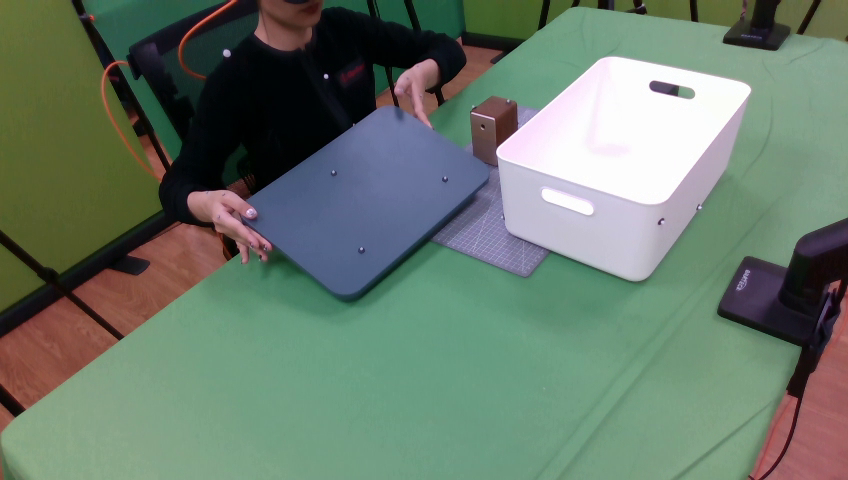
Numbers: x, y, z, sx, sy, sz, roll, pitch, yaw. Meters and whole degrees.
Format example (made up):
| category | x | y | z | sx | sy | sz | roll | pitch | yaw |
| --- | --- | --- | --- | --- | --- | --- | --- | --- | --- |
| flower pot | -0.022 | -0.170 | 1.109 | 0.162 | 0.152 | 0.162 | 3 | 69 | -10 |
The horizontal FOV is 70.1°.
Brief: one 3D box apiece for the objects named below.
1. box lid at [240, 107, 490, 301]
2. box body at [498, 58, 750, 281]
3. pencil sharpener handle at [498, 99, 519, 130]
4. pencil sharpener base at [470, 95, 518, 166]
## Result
| category | x | y | z | sx | sy | sz | roll | pitch | yaw |
| --- | --- | --- | --- | --- | --- | --- | --- | --- | --- |
| box lid | -0.089 | -0.081 | 1.012 | 0.261 | 0.015 | 0.372 | 36 | 59 | 21 |
| box body | 0.315 | -0.124 | 0.958 | 0.252 | 0.161 | 0.365 | 23 | 50 | 32 |
| pencil sharpener handle | 0.165 | -0.243 | 1.148 | 0.035 | 0.068 | 0.031 | 22 | 49 | 35 |
| pencil sharpener base | 0.134 | -0.205 | 1.128 | 0.061 | 0.107 | 0.077 | 23 | 50 | 33 |
